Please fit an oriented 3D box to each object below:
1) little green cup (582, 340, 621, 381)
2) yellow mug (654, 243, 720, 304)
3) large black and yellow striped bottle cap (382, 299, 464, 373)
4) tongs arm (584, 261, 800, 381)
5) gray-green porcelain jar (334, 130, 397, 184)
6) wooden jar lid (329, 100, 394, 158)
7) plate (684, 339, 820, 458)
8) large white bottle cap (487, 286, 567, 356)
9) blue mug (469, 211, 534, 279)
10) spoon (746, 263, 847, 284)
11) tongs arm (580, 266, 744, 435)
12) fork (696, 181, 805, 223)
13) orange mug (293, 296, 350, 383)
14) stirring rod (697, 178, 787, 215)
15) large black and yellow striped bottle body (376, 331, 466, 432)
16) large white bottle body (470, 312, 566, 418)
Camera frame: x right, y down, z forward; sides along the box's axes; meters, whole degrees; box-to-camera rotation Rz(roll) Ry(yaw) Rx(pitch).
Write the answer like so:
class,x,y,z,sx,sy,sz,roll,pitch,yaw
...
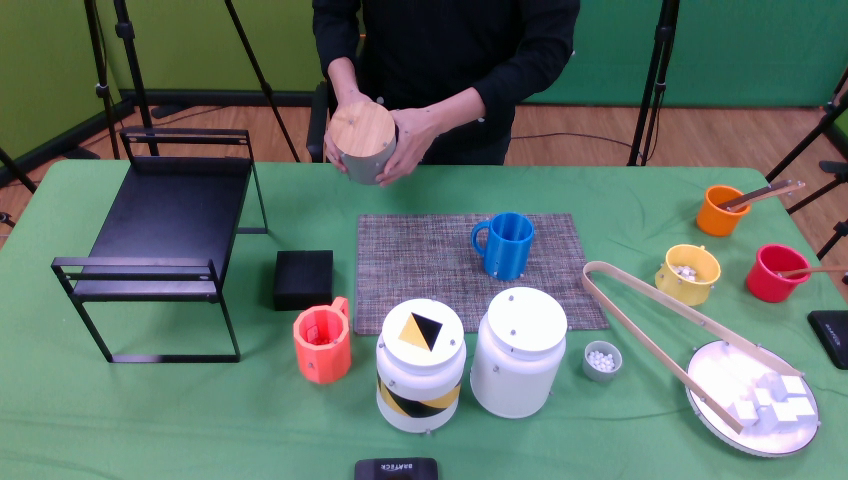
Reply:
class,x,y,z,sx,sy,sz,roll,pitch,yaw
little green cup,0.295,0.204,1.015,0.061,0.039,0.061,2,45,-2
yellow mug,0.504,0.054,1.154,0.099,0.064,0.130,28,50,22
large black and yellow striped bottle cap,-0.002,0.132,0.843,0.115,0.019,0.114,2,46,-1
tongs arm,0.452,0.137,1.064,0.051,0.027,0.382,-34,50,-27
gray-green porcelain jar,-0.103,-0.164,1.073,0.106,0.127,0.105,0,72,1
wooden jar lid,-0.104,-0.183,1.014,0.108,0.021,0.108,0,71,0
plate,0.523,0.256,0.982,0.208,0.039,0.206,2,46,-2
large white bottle cap,0.147,0.114,0.869,0.115,0.018,0.114,3,46,-3
blue mug,0.141,0.005,1.140,0.116,0.106,0.082,18,48,13
spoon,0.696,0.057,1.113,0.193,0.022,0.041,-16,27,48
tongs arm,0.384,0.173,1.028,0.028,0.028,0.385,-25,46,-15
fork,0.659,-0.077,1.232,0.207,0.019,0.028,-26,35,34
orange mug,-0.157,0.154,0.985,0.083,0.101,0.125,17,52,11
stirring rod,0.650,-0.088,1.246,0.006,0.176,0.014,29,50,-39
large black and yellow striped bottle body,-0.007,0.189,0.905,0.131,0.185,0.130,2,46,-2
large white bottle body,0.143,0.173,0.930,0.131,0.185,0.130,2,46,-2
